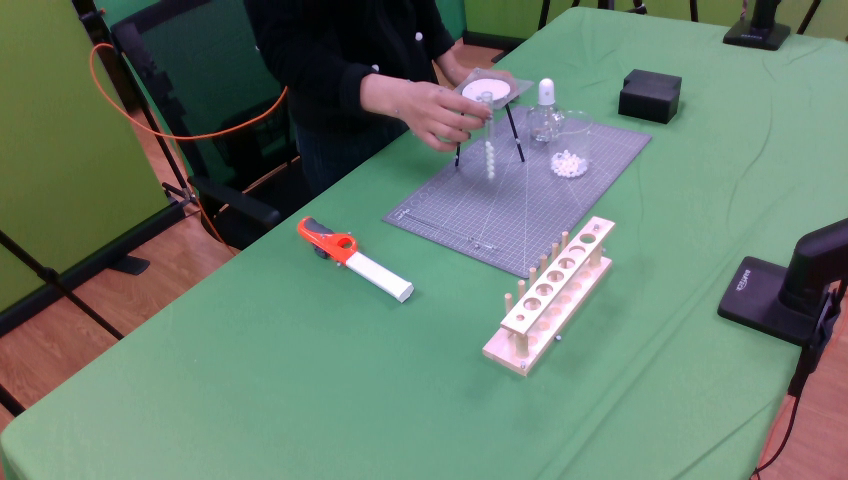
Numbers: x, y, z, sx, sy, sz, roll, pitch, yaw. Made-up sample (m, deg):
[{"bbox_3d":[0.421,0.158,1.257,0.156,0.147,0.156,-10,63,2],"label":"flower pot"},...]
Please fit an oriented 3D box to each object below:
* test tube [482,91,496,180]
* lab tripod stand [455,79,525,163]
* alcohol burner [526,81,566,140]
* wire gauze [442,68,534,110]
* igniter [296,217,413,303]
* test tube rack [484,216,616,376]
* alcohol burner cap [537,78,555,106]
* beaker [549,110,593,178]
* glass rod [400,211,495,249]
[{"bbox_3d":[0.096,-0.149,0.882,0.017,0.151,0.017,-4,44,5],"label":"test tube"},{"bbox_3d":[0.120,-0.220,1.126,0.148,0.132,0.147,-4,39,4],"label":"lab tripod stand"},{"bbox_3d":[0.235,-0.252,1.159,0.078,0.119,0.077,-4,42,4],"label":"alcohol burner"},{"bbox_3d":[0.114,-0.269,1.081,0.120,0.011,0.125,21,48,29],"label":"wire gauze"},{"bbox_3d":[-0.121,0.025,0.970,0.274,0.025,0.057,30,64,37],"label":"igniter"},{"bbox_3d":[0.174,0.064,0.823,0.066,0.085,0.243,23,49,33],"label":"test tube rack"},{"bbox_3d":[0.229,-0.279,1.136,0.034,0.048,0.033,-6,33,4],"label":"alcohol burner cap"},{"bbox_3d":[0.255,-0.165,1.063,0.084,0.101,0.073,-36,46,-27],"label":"beaker"},{"bbox_3d":[0.035,-0.018,1.001,0.198,0.008,0.008,21,49,35],"label":"glass rod"}]
